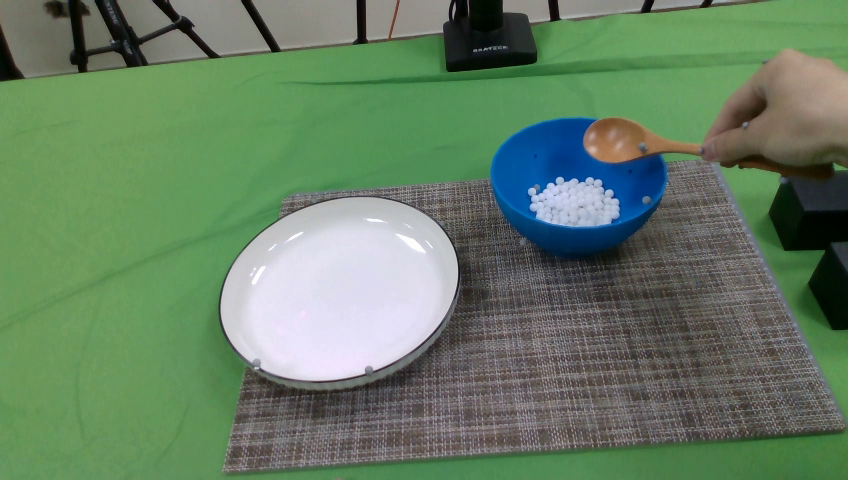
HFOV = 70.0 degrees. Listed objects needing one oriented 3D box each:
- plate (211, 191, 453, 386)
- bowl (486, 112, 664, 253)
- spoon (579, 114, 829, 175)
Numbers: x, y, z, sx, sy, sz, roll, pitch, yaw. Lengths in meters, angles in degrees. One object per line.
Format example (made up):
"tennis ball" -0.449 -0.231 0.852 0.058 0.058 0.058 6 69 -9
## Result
"plate" -0.077 0.041 0.533 0.207 0.039 0.205 -3 47 4
"bowl" 0.132 -0.041 0.553 0.151 0.077 0.150 -3 47 4
"spoon" 0.202 -0.070 0.465 0.192 0.022 0.041 22 86 50
